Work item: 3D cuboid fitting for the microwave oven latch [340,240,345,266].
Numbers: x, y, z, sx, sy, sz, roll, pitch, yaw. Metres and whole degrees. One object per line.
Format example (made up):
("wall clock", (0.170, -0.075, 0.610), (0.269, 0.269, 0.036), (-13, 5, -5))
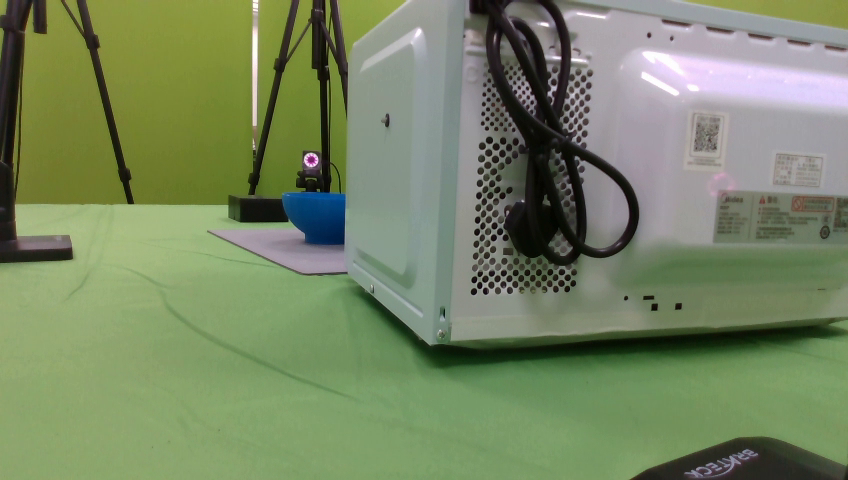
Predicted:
("microwave oven latch", (-0.052, 0.016, 0.662), (0.079, 0.029, 0.030), (1, 7, -18))

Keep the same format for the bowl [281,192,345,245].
("bowl", (-0.158, -0.035, 0.991), (0.151, 0.077, 0.151), (3, 7, 0))

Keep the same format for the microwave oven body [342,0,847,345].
("microwave oven body", (0.169, -0.060, 0.573), (0.444, 0.260, 0.324), (1, 7, -20))

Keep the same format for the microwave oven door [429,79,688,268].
("microwave oven door", (0.174, -0.101, 0.861), (0.354, 0.243, 0.039), (6, 9, 28))
